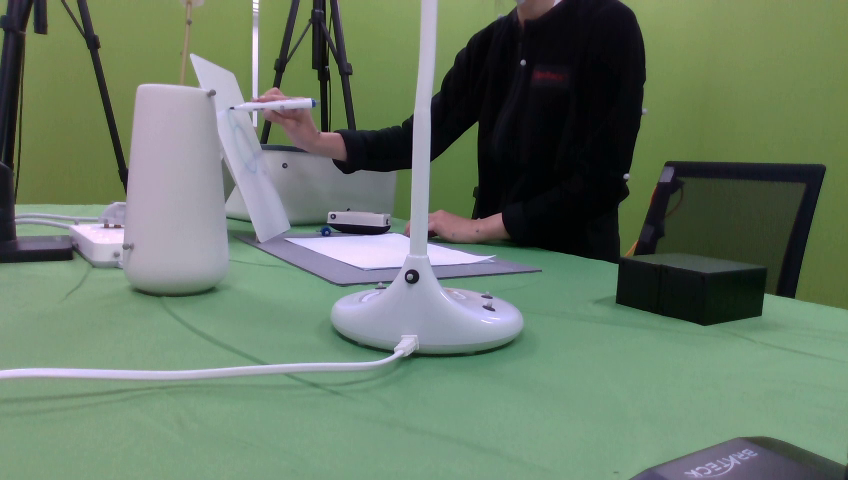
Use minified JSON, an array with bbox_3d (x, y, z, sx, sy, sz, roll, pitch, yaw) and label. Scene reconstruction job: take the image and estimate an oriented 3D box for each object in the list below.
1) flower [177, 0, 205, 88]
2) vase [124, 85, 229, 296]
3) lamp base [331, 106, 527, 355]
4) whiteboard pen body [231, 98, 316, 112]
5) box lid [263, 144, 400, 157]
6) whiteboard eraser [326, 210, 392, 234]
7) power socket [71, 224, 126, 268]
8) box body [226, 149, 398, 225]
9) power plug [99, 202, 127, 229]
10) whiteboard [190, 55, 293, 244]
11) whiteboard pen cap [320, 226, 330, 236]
[{"bbox_3d":[-0.243,-0.130,0.609,0.044,0.361,0.038,-5,-12,11],"label":"flower"},{"bbox_3d":[-0.244,-0.047,0.598,0.098,0.200,0.098,3,8,0],"label":"vase"},{"bbox_3d":[0.006,-0.012,0.478,0.161,0.180,0.179,2,10,2],"label":"lamp base"},{"bbox_3d":[-0.254,-0.227,1.023,0.141,0.017,0.017,-7,9,-12],"label":"whiteboard pen body"},{"bbox_3d":[-0.263,-0.203,1.369,0.262,0.015,0.373,9,10,39],"label":"box lid"},{"bbox_3d":[-0.121,-0.033,1.131,0.112,0.042,0.056,4,8,13],"label":"whiteboard eraser"},{"bbox_3d":[-0.409,0.004,0.793,0.072,0.032,0.225,-2,8,-37],"label":"power socket"},{"bbox_3d":[-0.265,-0.129,1.380,0.253,0.160,0.366,8,9,39],"label":"box body"},{"bbox_3d":[-0.415,-0.026,0.848,0.073,0.052,0.035,6,5,-28],"label":"power plug"},{"bbox_3d":[-0.362,-0.129,1.029,0.144,0.305,0.217,-18,7,3],"label":"whiteboard"},{"bbox_3d":[-0.176,-0.016,1.075,0.018,0.018,0.033,1,5,-13],"label":"whiteboard pen cap"}]
